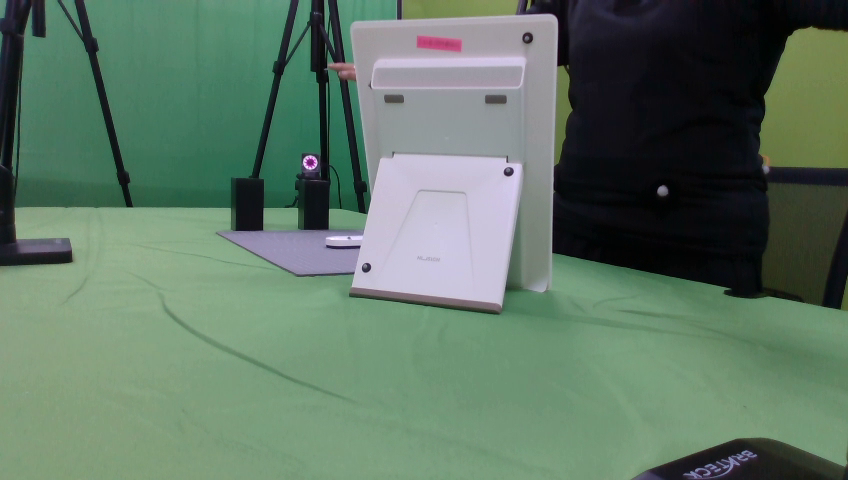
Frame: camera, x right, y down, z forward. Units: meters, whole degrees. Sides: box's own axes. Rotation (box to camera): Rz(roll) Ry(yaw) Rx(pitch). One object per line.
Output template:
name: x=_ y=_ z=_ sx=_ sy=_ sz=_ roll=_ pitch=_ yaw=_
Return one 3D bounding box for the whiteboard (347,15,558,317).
whiteboard: x=0.012 y=-0.056 z=0.609 sx=0.216 sy=0.305 sz=0.144 roll=5 pitch=27 yaw=19

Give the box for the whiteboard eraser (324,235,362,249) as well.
whiteboard eraser: x=-0.112 y=0.002 z=0.974 sx=0.102 sy=0.019 sz=0.041 roll=-1 pitch=8 yaw=-32
